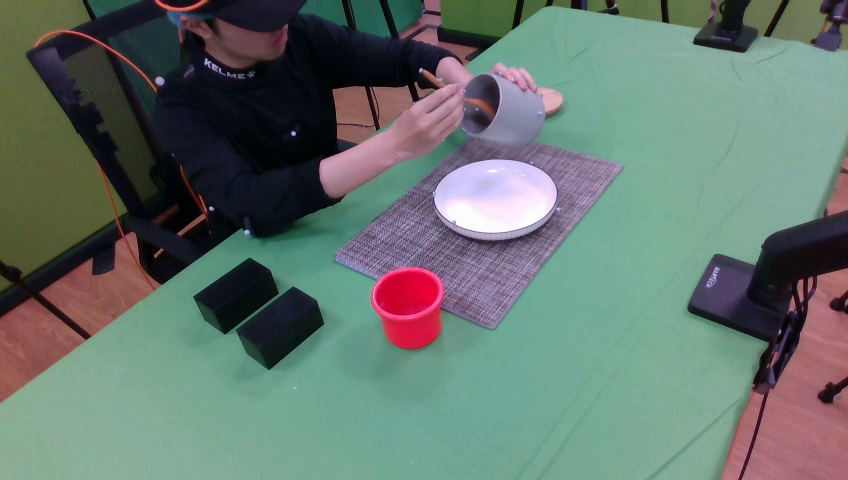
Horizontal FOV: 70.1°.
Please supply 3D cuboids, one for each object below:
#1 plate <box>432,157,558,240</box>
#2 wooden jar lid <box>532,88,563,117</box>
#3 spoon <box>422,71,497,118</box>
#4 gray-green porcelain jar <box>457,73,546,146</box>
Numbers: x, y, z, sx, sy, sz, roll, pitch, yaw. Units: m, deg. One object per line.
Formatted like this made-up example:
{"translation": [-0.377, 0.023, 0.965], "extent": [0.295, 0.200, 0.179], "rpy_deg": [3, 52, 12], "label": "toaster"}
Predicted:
{"translation": [0.118, -0.066, 1.013], "extent": [0.207, 0.039, 0.206], "rpy_deg": [-4, 41, 4], "label": "plate"}
{"translation": [0.237, -0.286, 1.271], "extent": [0.108, 0.021, 0.108], "rpy_deg": [-5, 42, 5], "label": "wooden jar lid"}
{"translation": [0.062, -0.229, 0.968], "extent": [0.195, 0.021, 0.041], "rpy_deg": [11, 34, -46], "label": "spoon"}
{"translation": [0.137, -0.219, 1.035], "extent": [0.127, 0.106, 0.105], "rpy_deg": [5, 28, -41], "label": "gray-green porcelain jar"}
